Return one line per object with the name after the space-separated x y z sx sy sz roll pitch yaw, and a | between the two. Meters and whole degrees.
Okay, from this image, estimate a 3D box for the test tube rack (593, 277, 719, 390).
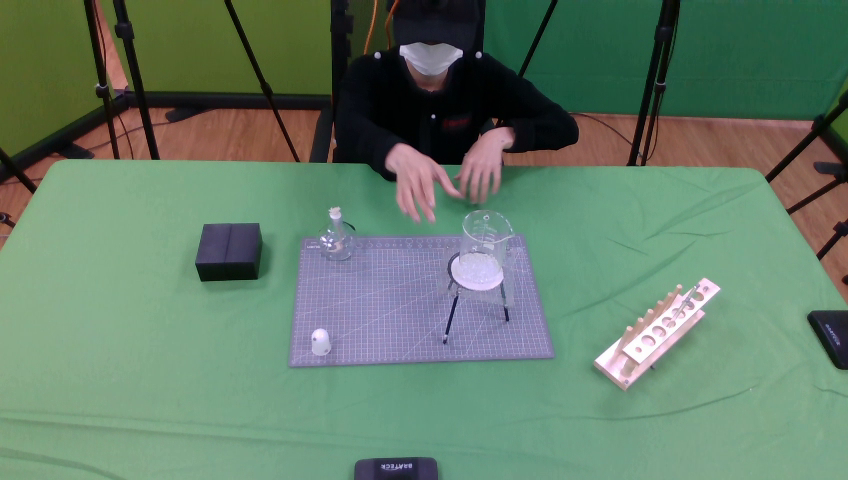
0.401 0.148 1.043 0.242 0.085 0.066 -30 55 -29 | test tube rack

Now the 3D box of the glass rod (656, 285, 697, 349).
0.401 0.128 0.971 0.008 0.201 0.008 0 53 1 | glass rod

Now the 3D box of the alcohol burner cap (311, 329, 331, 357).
-0.173 0.168 1.004 0.034 0.048 0.033 2 46 -2 | alcohol burner cap

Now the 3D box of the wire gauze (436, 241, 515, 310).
0.087 0.052 0.982 0.125 0.011 0.121 11 47 2 | wire gauze

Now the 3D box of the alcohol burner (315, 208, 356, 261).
-0.166 -0.017 1.134 0.078 0.119 0.077 2 48 -2 | alcohol burner

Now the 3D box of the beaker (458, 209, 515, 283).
0.094 0.013 0.952 0.084 0.101 0.073 12 46 7 | beaker

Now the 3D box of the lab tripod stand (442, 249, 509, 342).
0.081 0.091 1.036 0.148 0.132 0.147 3 44 -3 | lab tripod stand
